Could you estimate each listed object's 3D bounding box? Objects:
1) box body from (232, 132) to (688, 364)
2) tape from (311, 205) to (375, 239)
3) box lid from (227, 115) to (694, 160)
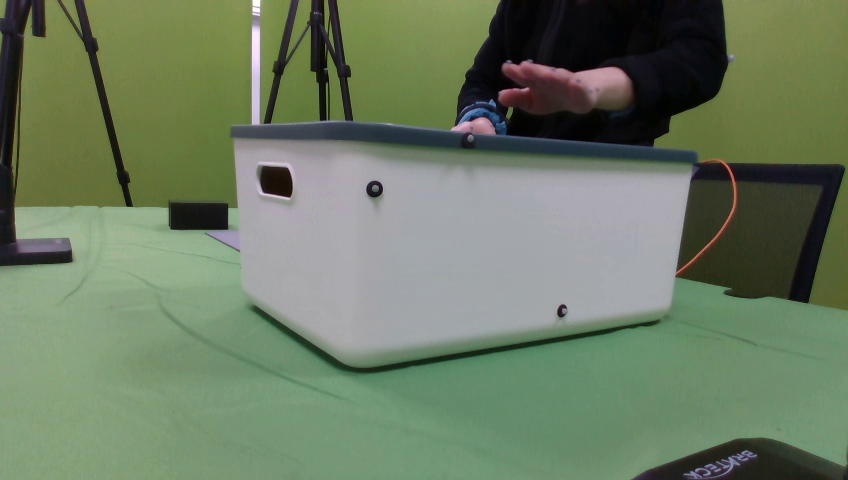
[{"bbox_3d":[0.031,-0.013,0.563,0.366,0.160,0.253,-3,8,-33],"label":"box body"},{"bbox_3d":[-0.145,-0.034,1.097,0.117,0.052,0.117,3,8,0],"label":"tape"},{"bbox_3d":[0.032,-0.086,0.553,0.373,0.015,0.262,-2,8,-33],"label":"box lid"}]
